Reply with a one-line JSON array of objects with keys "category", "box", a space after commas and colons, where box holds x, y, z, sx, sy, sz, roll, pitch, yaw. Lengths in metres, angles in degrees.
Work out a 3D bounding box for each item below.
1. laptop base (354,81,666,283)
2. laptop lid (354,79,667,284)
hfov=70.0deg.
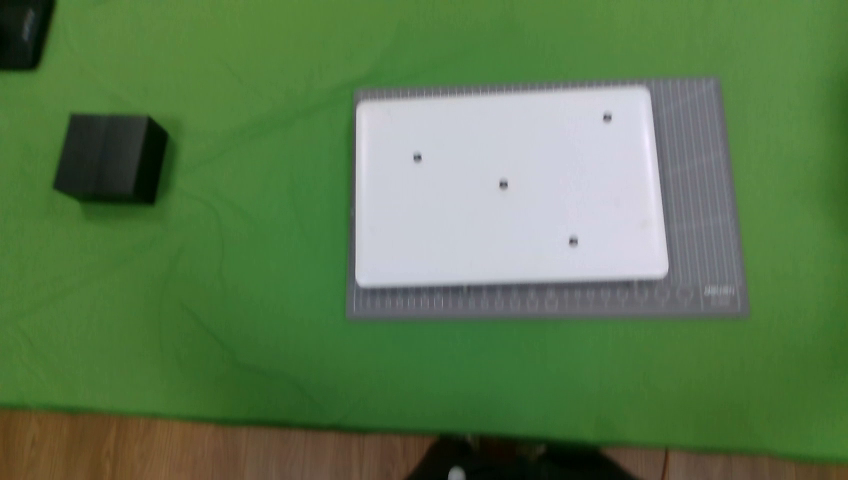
[{"category": "laptop base", "box": [0.094, -0.069, 0.716, 0.354, 0.023, 0.234, -2, 80, 3]}, {"category": "laptop lid", "box": [0.093, -0.070, 0.704, 0.356, 0.013, 0.240, -1, 79, 4]}]
